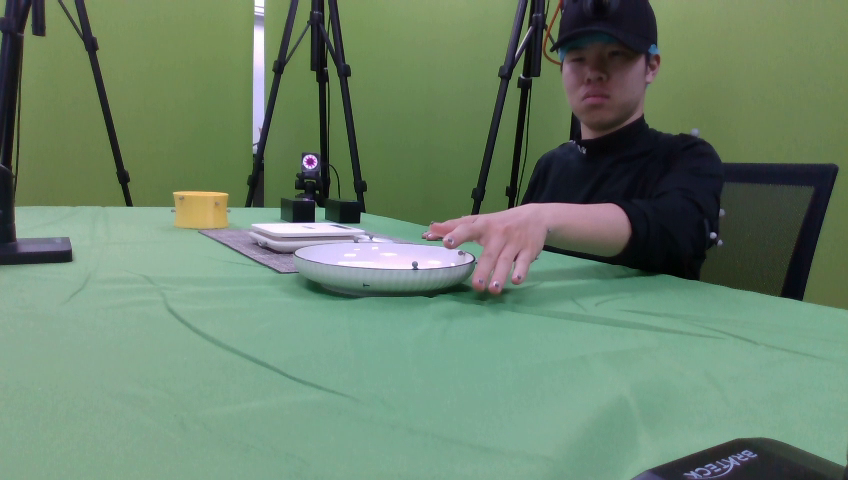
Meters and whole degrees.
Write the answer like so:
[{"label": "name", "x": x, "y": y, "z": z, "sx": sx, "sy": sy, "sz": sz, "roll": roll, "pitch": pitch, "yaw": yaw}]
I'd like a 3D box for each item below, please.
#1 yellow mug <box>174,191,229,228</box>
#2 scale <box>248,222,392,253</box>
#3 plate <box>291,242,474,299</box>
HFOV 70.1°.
[{"label": "yellow mug", "x": -0.427, "y": -0.063, "z": 1.189, "sx": 0.100, "sy": 0.064, "sz": 0.131, "roll": 5, "pitch": 7, "yaw": 14}, {"label": "scale", "x": -0.162, "y": -0.006, "z": 0.954, "sx": 0.202, "sy": 0.031, "sz": 0.148, "roll": -1, "pitch": 9, "yaw": -32}, {"label": "plate", "x": -0.047, "y": 0.033, "z": 0.693, "sx": 0.209, "sy": 0.038, "sz": 0.209, "roll": 3, "pitch": 7, "yaw": 0}]
